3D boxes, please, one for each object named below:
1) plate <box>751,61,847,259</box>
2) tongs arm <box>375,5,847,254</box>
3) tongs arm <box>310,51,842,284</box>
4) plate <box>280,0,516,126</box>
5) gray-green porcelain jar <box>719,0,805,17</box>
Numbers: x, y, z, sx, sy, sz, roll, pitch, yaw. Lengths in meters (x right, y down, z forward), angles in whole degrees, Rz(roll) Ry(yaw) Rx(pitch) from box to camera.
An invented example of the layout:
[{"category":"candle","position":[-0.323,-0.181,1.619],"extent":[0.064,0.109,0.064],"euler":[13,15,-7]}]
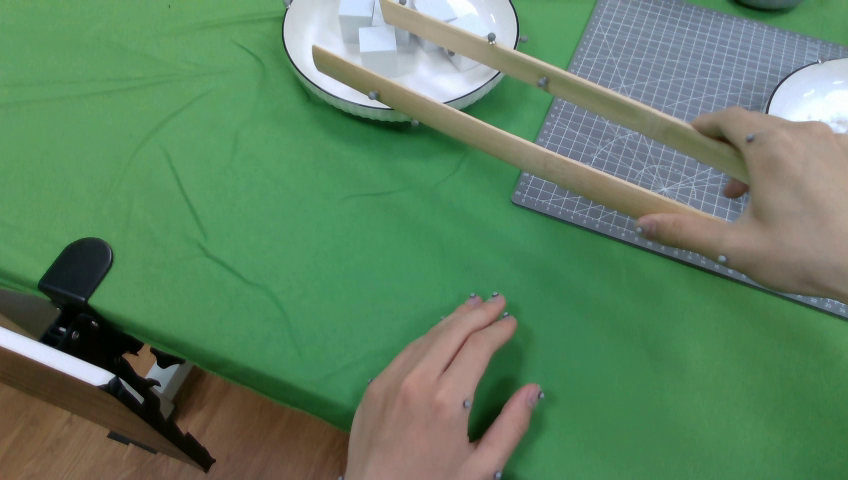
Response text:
[{"category":"plate","position":[0.363,-0.056,0.481],"extent":[0.209,0.038,0.207],"euler":[1,58,-1]},{"category":"tongs arm","position":[0.097,-0.091,0.432],"extent":[0.382,0.027,0.050],"euler":[30,59,24]},{"category":"tongs arm","position":[0.068,-0.061,0.412],"extent":[0.385,0.028,0.028],"euler":[28,55,23]},{"category":"plate","position":[-0.023,-0.178,0.550],"extent":[0.208,0.039,0.205],"euler":[1,58,-1]},{"category":"gray-green porcelain jar","position":[0.339,-0.290,0.577],"extent":[0.106,0.127,0.105],"euler":[1,58,-1]}]
